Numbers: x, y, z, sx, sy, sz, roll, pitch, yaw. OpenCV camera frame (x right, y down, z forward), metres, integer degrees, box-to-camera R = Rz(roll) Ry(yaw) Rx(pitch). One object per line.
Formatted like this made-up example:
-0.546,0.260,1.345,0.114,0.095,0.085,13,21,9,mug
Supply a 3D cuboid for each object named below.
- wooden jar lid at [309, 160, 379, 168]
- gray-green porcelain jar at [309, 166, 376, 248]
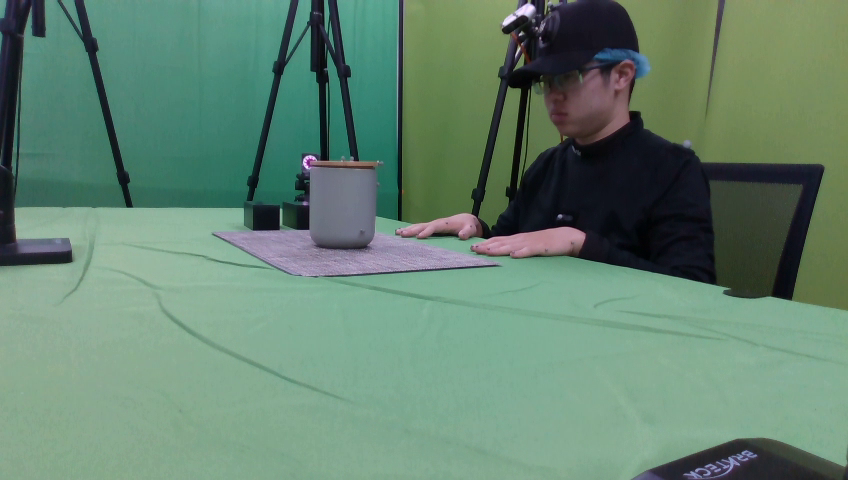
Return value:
-0.127,-0.117,0.957,0.108,0.020,0.108,1,7,0,wooden jar lid
-0.130,-0.054,0.965,0.106,0.126,0.106,2,7,0,gray-green porcelain jar
